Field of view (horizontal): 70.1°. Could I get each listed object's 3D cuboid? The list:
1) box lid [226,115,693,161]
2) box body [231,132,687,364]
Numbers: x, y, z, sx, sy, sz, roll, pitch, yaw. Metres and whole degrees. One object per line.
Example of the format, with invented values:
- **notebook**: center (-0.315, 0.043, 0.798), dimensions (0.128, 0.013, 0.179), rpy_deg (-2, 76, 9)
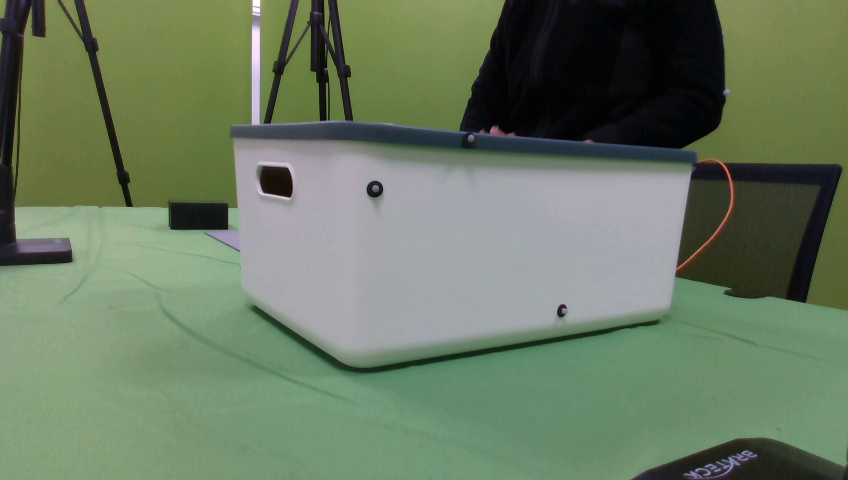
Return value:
- **box lid**: center (0.031, -0.086, 0.554), dimensions (0.373, 0.015, 0.262), rpy_deg (-2, 8, -33)
- **box body**: center (0.031, -0.013, 0.563), dimensions (0.366, 0.160, 0.253), rpy_deg (-3, 8, -33)
